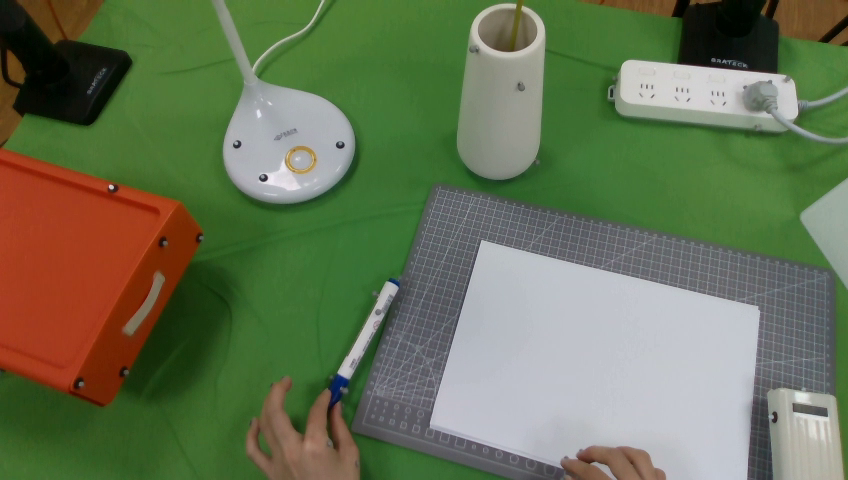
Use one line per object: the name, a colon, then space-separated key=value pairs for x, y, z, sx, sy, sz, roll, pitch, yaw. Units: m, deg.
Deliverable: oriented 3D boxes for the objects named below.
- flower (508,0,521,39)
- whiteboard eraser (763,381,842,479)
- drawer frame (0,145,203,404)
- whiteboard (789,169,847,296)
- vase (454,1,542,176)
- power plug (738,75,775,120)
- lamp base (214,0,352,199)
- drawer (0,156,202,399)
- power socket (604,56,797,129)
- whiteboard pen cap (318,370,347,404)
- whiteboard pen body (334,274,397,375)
flower: x=0.086 y=-0.206 z=0.585 sx=0.038 sy=0.365 sz=0.043 roll=2 pitch=46 yaw=-4
whiteboard eraser: x=0.345 y=0.189 z=0.555 sx=0.055 sy=0.042 sz=0.112 roll=9 pitch=64 yaw=5
drawer frame: x=-0.369 y=0.029 z=0.598 sx=0.213 sy=0.083 sz=0.200 roll=16 pitch=66 yaw=8
whiteboard: x=0.551 y=-0.029 z=0.544 sx=0.144 sy=0.307 sz=0.215 roll=-7 pitch=61 yaw=-22
vase: x=0.079 y=-0.155 z=0.651 sx=0.098 sy=0.201 sz=0.097 roll=-2 pitch=63 yaw=3
power plug: x=0.384 y=-0.160 z=0.707 sx=0.035 sy=0.053 sz=0.072 roll=17 pitch=67 yaw=11
lamp base: x=-0.180 y=-0.163 z=0.676 sx=0.160 sy=0.182 sz=0.177 roll=-37 pitch=65 yaw=-15
drawer: x=-0.363 y=0.029 z=0.596 sx=0.211 sy=0.074 sz=0.193 roll=16 pitch=66 yaw=10
power socket: x=0.339 y=-0.182 z=0.746 sx=0.226 sy=0.033 sz=0.071 roll=8 pitch=65 yaw=6
whiteboard pen cap: x=-0.092 y=0.147 z=0.610 sx=0.018 sy=0.018 sz=0.033 roll=24 pitch=73 yaw=14
whiteboard pen body: x=-0.065 y=0.097 z=0.628 sx=0.017 sy=0.017 sz=0.140 roll=24 pitch=74 yaw=14
